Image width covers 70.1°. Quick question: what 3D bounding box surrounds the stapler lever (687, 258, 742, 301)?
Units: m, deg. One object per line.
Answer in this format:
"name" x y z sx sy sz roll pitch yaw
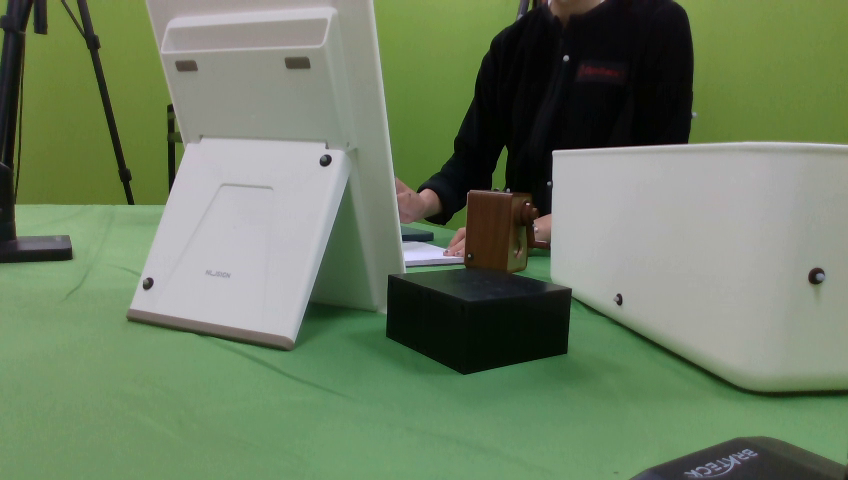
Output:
"stapler lever" 0.283 0.035 0.585 0.026 0.040 0.119 11 8 37

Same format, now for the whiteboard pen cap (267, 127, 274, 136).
"whiteboard pen cap" -0.340 -0.239 1.337 0.018 0.018 0.033 1 -1 -14

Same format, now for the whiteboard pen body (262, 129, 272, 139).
"whiteboard pen body" -0.361 -0.245 1.393 0.017 0.017 0.140 0 5 -20

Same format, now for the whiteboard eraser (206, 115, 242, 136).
"whiteboard eraser" -0.438 -0.249 1.320 0.056 0.042 0.112 -3 9 -30

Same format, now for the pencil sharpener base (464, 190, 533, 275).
"pencil sharpener base" 0.102 -0.012 0.813 0.076 0.107 0.061 8 9 36

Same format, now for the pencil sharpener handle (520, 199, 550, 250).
"pencil sharpener handle" 0.147 -0.019 0.785 0.030 0.068 0.036 8 25 36

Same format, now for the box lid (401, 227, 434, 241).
"box lid" -0.196 -0.015 1.105 0.373 0.015 0.262 -1 7 -32

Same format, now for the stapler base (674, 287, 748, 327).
"stapler base" 0.281 0.061 0.586 0.041 0.024 0.131 11 9 37

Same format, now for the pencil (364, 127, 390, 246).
"pencil" -0.072 -0.084 0.944 0.012 0.193 0.012 -11 -8 -1

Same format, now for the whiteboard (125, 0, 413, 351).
"whiteboard" -0.151 -0.050 0.471 0.216 0.305 0.144 6 27 24

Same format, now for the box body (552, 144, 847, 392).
"box body" 0.290 0.002 0.549 0.255 0.160 0.363 2 7 -10
